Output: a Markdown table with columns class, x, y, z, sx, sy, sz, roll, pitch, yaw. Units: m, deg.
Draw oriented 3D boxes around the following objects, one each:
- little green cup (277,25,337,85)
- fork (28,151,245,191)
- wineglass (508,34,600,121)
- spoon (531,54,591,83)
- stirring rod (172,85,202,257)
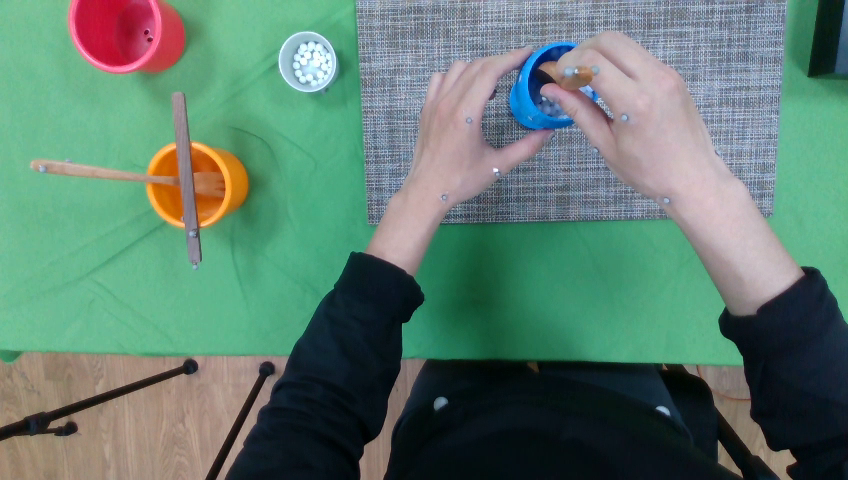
| class | x | y | z | sx | sy | sz | roll | pitch | yaw |
| --- | --- | --- | --- | --- | --- | --- | --- | --- | --- |
| little green cup | -0.123 | -0.197 | 0.652 | 0.061 | 0.038 | 0.062 | 1 | 101 | 4 |
| fork | -0.288 | -0.072 | 0.630 | 0.209 | 0.018 | 0.028 | 3 | 111 | -41 |
| wineglass | 0.118 | -0.148 | 0.574 | 0.074 | 0.172 | 0.074 | 1 | 100 | 4 |
| spoon | 0.103 | -0.124 | 0.444 | 0.041 | 0.193 | 0.022 | 19 | 109 | 0 |
| stirring rod | -0.245 | -0.069 | 0.625 | 0.014 | 0.006 | 0.176 | -1 | 100 | 4 |
